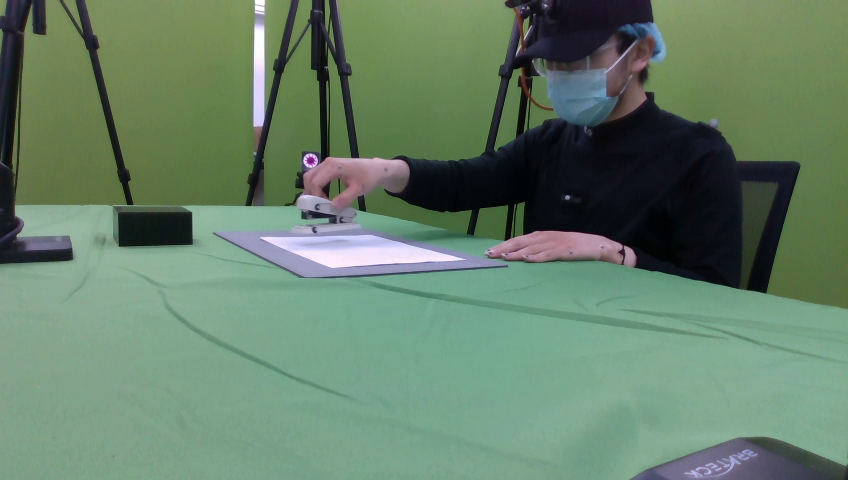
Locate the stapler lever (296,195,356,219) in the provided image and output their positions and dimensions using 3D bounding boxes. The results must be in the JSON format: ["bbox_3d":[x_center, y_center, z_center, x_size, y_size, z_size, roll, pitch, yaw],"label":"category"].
[{"bbox_3d":[-0.158,-0.053,0.980,0.026,0.040,0.118,8,8,34],"label":"stapler lever"}]

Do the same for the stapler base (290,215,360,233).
[{"bbox_3d":[-0.159,-0.028,0.981,0.041,0.024,0.131,8,8,34],"label":"stapler base"}]
